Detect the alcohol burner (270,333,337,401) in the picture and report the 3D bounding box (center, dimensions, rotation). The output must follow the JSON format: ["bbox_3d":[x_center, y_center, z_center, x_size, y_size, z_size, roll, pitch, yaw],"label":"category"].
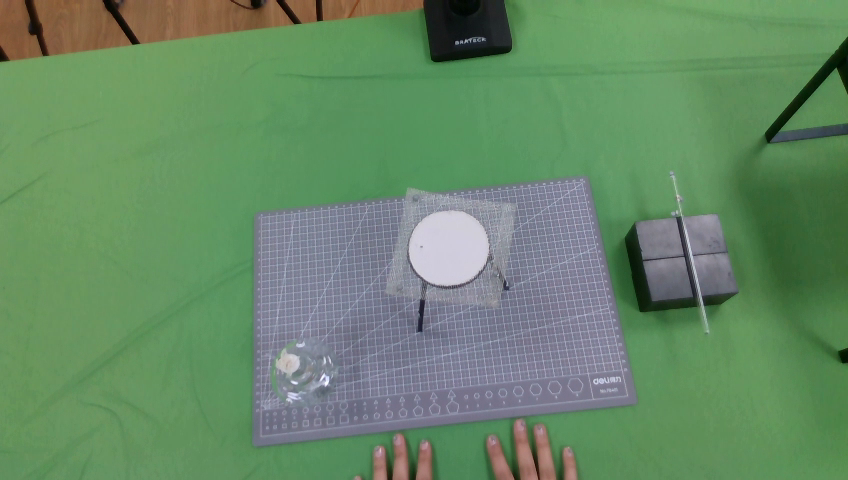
[{"bbox_3d":[-0.139,0.140,0.679,0.078,0.120,0.077,-1,71,2],"label":"alcohol burner"}]

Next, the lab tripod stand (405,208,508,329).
[{"bbox_3d":[0.026,0.027,0.704,0.148,0.132,0.147,-2,69,5],"label":"lab tripod stand"}]

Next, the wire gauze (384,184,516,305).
[{"bbox_3d":[0.028,0.003,0.640,0.121,0.011,0.124,10,70,7],"label":"wire gauze"}]

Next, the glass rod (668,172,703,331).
[{"bbox_3d":[0.308,0.010,0.716,0.008,0.008,0.198,-3,70,2],"label":"glass rod"}]
